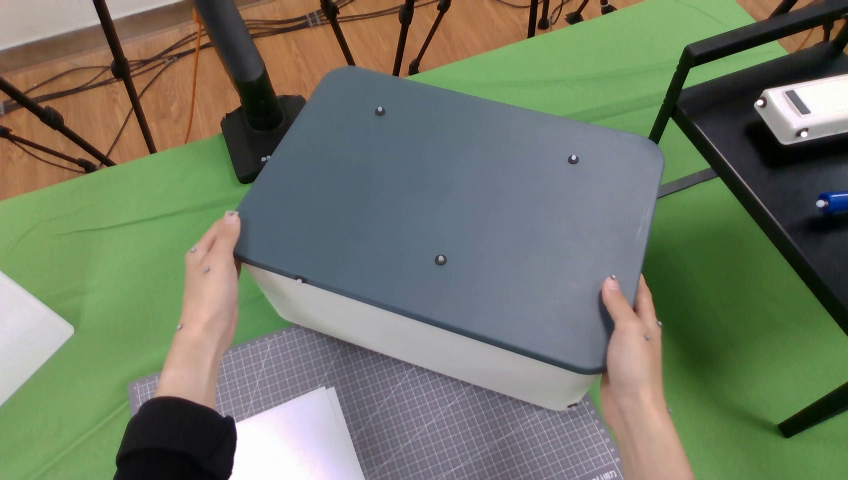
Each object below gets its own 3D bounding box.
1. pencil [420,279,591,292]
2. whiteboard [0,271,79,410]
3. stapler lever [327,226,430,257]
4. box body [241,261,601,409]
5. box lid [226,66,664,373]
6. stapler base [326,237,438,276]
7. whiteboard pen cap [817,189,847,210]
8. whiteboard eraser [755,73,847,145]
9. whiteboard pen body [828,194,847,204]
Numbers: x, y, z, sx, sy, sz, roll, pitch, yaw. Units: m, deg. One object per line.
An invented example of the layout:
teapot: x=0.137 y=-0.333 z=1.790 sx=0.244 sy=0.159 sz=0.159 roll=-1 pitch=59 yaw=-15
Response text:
pencil: x=0.091 y=0.050 z=0.691 sx=0.194 sy=0.012 sz=0.012 roll=2 pitch=59 yaw=7
whiteboard: x=-0.550 y=0.064 z=0.575 sx=0.142 sy=0.309 sz=0.216 roll=20 pitch=60 yaw=36
stapler lever: x=-0.052 y=0.001 z=0.685 sx=0.118 sy=0.040 sz=0.026 roll=4 pitch=56 yaw=6
box body: x=0.029 y=-0.002 z=0.640 sx=0.363 sy=0.162 sz=0.252 roll=16 pitch=60 yaw=12
box lid: x=0.025 y=-0.043 z=0.577 sx=0.370 sy=0.015 sz=0.261 roll=17 pitch=59 yaw=11
stapler base: x=-0.050 y=0.015 z=0.708 sx=0.130 sy=0.024 sz=0.041 roll=4 pitch=56 yaw=4
whiteboard pen cap: x=0.354 y=-0.034 z=0.513 sx=0.033 sy=0.018 sz=0.018 roll=-4 pitch=58 yaw=-7
whiteboard eraser: x=0.372 y=-0.121 z=0.561 sx=0.113 sy=0.042 sz=0.055 roll=-11 pitch=60 yaw=-5
whiteboard pen body: x=0.412 y=-0.039 z=0.520 sx=0.141 sy=0.017 sz=0.017 roll=-5 pitch=58 yaw=-6
